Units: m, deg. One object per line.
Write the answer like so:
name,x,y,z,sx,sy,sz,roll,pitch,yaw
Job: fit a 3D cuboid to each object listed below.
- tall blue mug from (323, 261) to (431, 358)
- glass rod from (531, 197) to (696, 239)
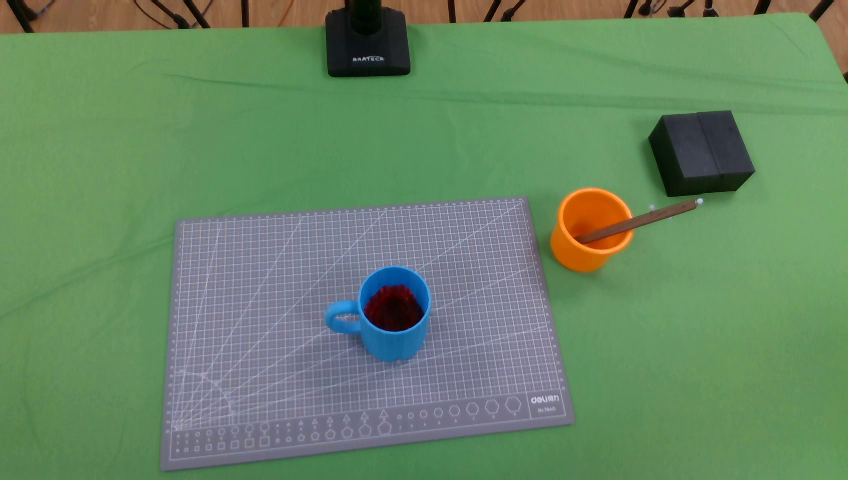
tall blue mug,-0.048,0.085,0.664,0.107,0.108,0.077,-27,70,-16
glass rod,0.220,-0.024,0.725,0.199,0.008,0.008,-15,59,31
